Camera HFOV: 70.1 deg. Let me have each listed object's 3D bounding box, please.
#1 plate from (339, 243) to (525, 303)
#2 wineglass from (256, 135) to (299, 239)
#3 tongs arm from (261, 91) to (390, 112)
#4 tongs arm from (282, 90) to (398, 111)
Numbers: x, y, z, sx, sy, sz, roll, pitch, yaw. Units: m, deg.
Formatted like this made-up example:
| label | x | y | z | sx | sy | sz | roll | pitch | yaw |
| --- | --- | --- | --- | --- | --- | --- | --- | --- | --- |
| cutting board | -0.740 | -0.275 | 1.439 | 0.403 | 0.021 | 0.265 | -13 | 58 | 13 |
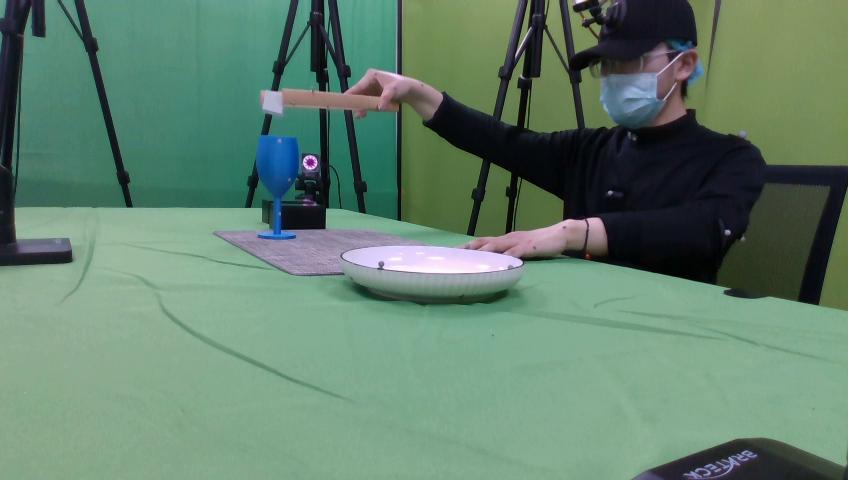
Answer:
| label | x | y | z | sx | sy | sz | roll | pitch | yaw |
| --- | --- | --- | --- | --- | --- | --- | --- | --- | --- |
| plate | 0.008 | 0.035 | 0.682 | 0.209 | 0.038 | 0.209 | 3 | 7 | 0 |
| wineglass | -0.252 | -0.091 | 1.035 | 0.074 | 0.172 | 0.073 | 3 | 7 | 0 |
| tongs arm | -0.177 | -0.267 | 1.174 | 0.028 | 0.028 | 0.389 | -1 | 9 | 29 |
| tongs arm | -0.152 | -0.265 | 1.162 | 0.050 | 0.026 | 0.386 | 4 | 11 | 31 |
